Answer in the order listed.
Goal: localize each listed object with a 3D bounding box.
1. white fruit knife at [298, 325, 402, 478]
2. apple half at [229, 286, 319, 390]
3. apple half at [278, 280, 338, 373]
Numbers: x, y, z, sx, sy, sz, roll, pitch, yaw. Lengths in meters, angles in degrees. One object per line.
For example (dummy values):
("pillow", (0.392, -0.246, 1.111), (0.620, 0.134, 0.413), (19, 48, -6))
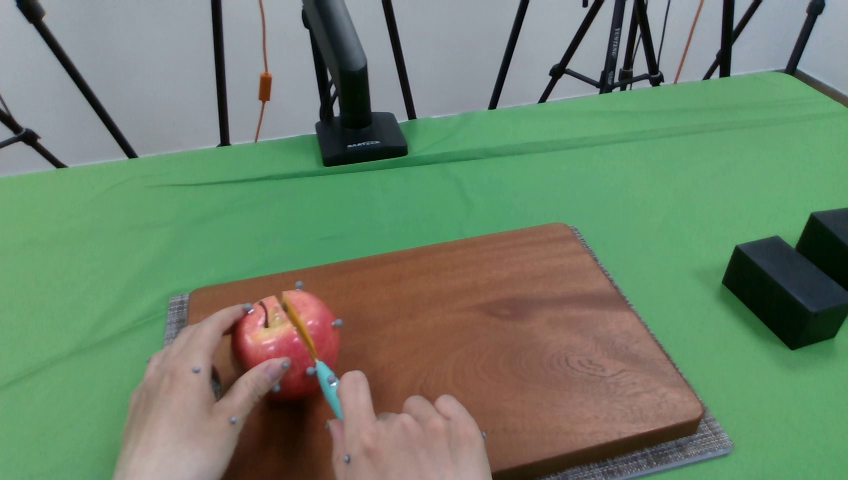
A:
("white fruit knife", (-0.076, 0.095, 0.455), (0.016, 0.028, 0.205), (-24, 41, -26))
("apple half", (-0.124, 0.084, 0.480), (0.053, 0.075, 0.080), (-29, 49, -19))
("apple half", (-0.088, 0.067, 0.496), (0.033, 0.082, 0.080), (-25, 45, -23))
